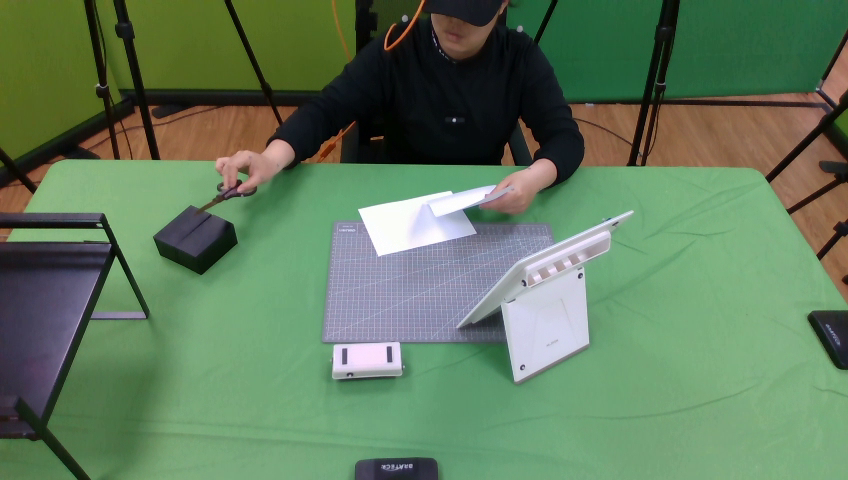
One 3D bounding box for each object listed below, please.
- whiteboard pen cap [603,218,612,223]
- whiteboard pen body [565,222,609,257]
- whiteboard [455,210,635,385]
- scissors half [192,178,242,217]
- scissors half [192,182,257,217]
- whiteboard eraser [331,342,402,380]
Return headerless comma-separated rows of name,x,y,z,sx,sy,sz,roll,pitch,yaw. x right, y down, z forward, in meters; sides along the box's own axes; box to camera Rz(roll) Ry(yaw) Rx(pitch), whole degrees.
whiteboard pen cap,0.378,-0.031,1.255,0.033,0.018,0.018,-33,57,-29
whiteboard pen body,0.334,-0.004,1.229,0.141,0.017,0.017,-33,56,-30
whiteboard,0.211,0.111,0.955,0.217,0.306,0.143,-21,71,-23
scissors half,-0.391,-0.081,1.139,0.040,0.013,0.174,11,28,3
scissors half,-0.373,-0.074,1.135,0.040,0.013,0.175,25,31,15
whiteboard eraser,-0.094,0.198,0.986,0.113,0.042,0.055,-2,44,-6
